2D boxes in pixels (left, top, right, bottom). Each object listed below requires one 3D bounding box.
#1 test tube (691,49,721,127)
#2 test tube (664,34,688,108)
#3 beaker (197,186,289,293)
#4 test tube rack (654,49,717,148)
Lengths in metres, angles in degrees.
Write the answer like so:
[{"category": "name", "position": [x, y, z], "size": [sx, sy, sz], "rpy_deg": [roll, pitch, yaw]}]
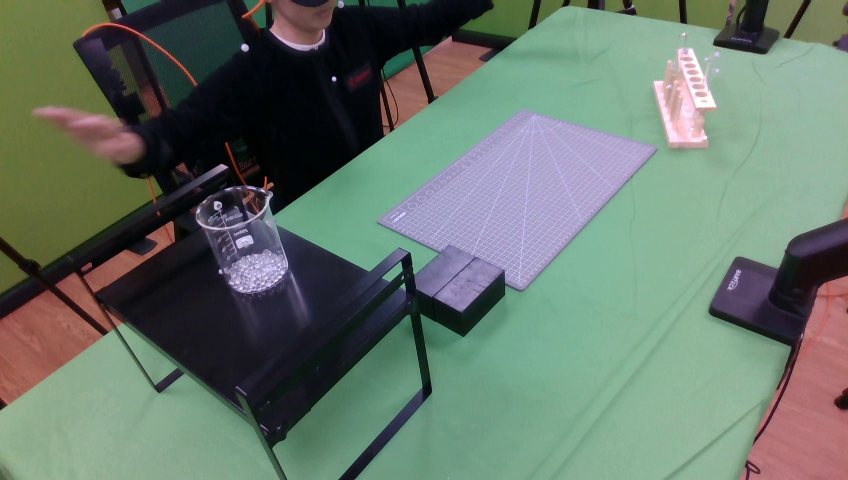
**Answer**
[{"category": "test tube", "position": [0.505, -0.270, 1.087], "size": [0.017, 0.151, 0.017], "rpy_deg": [-1, 41, 1]}, {"category": "test tube", "position": [0.483, -0.322, 1.159], "size": [0.017, 0.151, 0.017], "rpy_deg": [-3, 42, 3]}, {"category": "beaker", "position": [-0.192, 0.001, 0.666], "size": [0.084, 0.101, 0.073], "rpy_deg": [-33, 47, -27]}, {"category": "test tube rack", "position": [0.502, -0.281, 1.176], "size": [0.066, 0.085, 0.241], "rpy_deg": [1, 41, 11]}]
